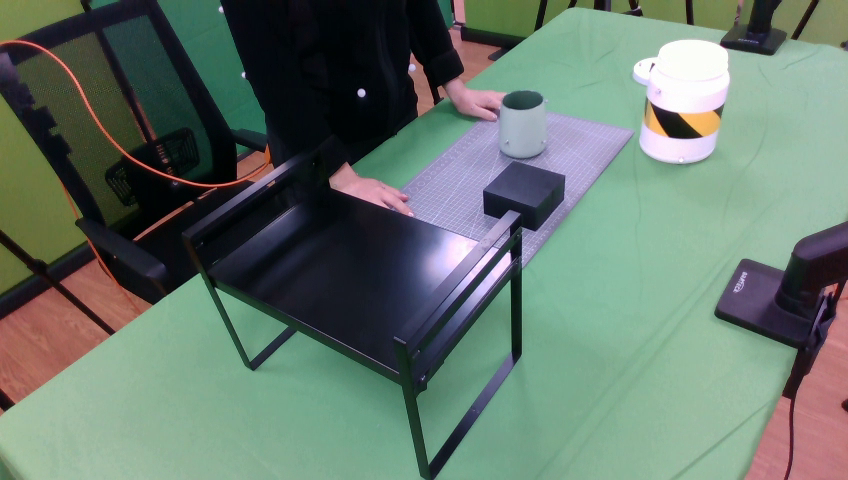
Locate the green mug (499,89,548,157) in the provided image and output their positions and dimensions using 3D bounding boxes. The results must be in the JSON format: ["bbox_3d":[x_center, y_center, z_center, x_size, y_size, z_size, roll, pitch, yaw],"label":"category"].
[{"bbox_3d":[0.195,-0.228,1.145,0.092,0.105,0.125,14,45,24],"label":"green mug"}]

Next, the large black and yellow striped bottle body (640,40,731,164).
[{"bbox_3d":[0.459,-0.242,1.064,0.131,0.185,0.130,-4,41,4],"label":"large black and yellow striped bottle body"}]

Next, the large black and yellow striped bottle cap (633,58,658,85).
[{"bbox_3d":[0.522,-0.370,1.332,0.115,0.019,0.114,-3,41,4],"label":"large black and yellow striped bottle cap"}]
